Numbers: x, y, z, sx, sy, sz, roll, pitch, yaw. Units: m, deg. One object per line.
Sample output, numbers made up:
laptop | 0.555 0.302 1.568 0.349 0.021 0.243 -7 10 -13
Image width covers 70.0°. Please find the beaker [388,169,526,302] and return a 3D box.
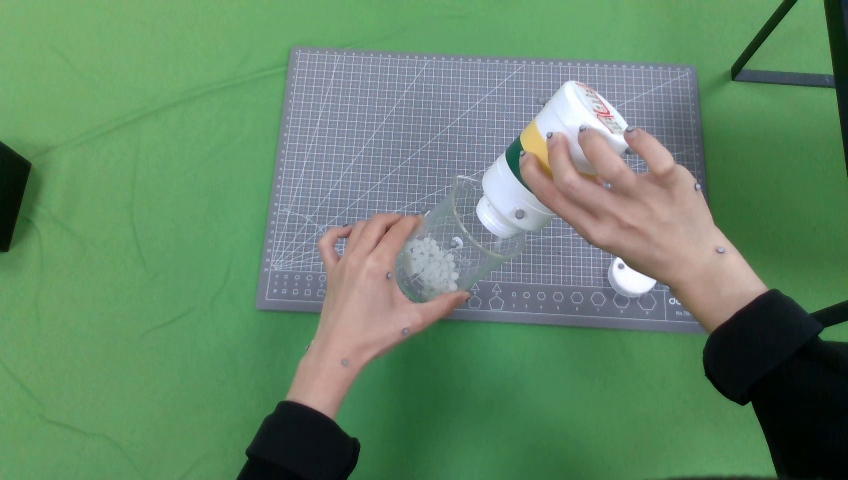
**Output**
beaker | 0.021 0.000 0.503 0.074 0.100 0.083 -25 78 -47

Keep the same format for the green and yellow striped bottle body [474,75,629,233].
green and yellow striped bottle body | 0.087 -0.056 0.449 0.063 0.120 0.062 25 38 -21

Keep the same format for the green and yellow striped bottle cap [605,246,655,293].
green and yellow striped bottle cap | 0.203 0.029 0.595 0.045 0.020 0.045 0 70 0
